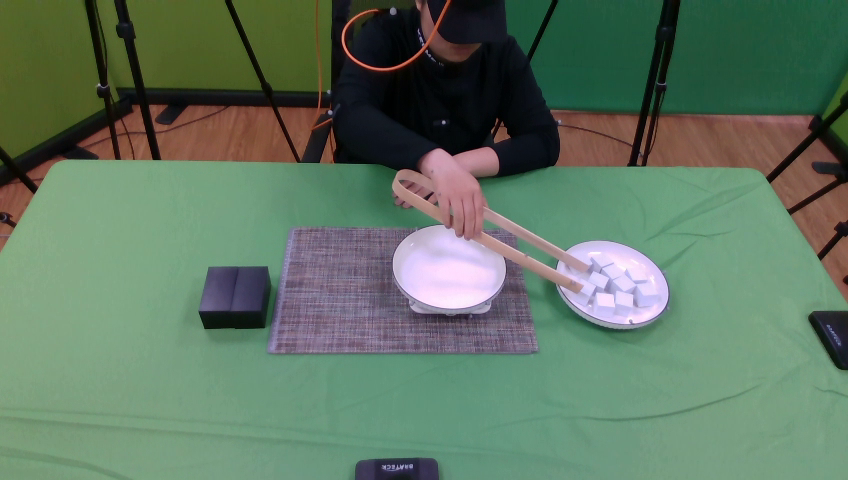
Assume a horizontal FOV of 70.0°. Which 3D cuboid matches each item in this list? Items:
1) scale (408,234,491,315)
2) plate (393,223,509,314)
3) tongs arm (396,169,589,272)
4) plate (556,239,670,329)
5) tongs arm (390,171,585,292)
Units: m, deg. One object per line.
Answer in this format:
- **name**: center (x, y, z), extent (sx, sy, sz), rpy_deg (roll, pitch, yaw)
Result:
- **scale**: center (0.045, 0.055, 1.135), extent (0.149, 0.032, 0.199), rpy_deg (1, 46, -3)
- **plate**: center (0.048, 0.053, 1.091), extent (0.208, 0.039, 0.206), rpy_deg (1, 46, -1)
- **tongs arm**: center (0.123, -0.035, 1.097), extent (0.388, 0.028, 0.028), rpy_deg (27, 49, -2)
- **plate**: center (0.347, 0.083, 1.130), extent (0.209, 0.038, 0.208), rpy_deg (2, 47, -2)
- **tongs arm**: center (0.112, -0.014, 1.072), extent (0.385, 0.026, 0.050), rpy_deg (26, 46, -2)
